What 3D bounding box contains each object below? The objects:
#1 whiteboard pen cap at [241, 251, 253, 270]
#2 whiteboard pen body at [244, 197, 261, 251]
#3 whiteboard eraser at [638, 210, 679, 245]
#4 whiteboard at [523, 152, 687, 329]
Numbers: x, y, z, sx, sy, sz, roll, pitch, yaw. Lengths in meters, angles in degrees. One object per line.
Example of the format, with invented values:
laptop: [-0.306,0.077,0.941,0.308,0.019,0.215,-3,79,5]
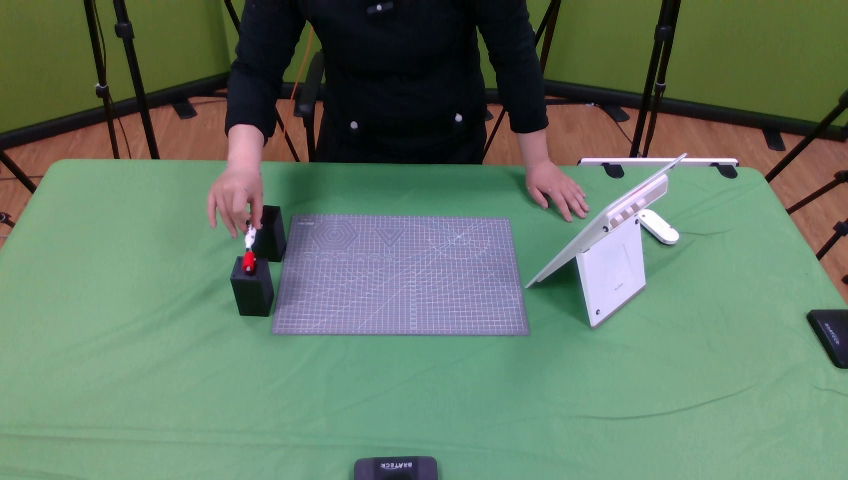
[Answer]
whiteboard pen cap: [-0.293,0.034,1.004,0.017,0.017,0.032,-2,44,-6]
whiteboard pen body: [-0.302,-0.028,1.062,0.017,0.017,0.139,0,43,-5]
whiteboard eraser: [0.485,-0.027,1.260,0.041,0.019,0.100,-20,49,-22]
whiteboard: [0.346,0.025,1.046,0.217,0.306,0.143,-30,74,-29]
